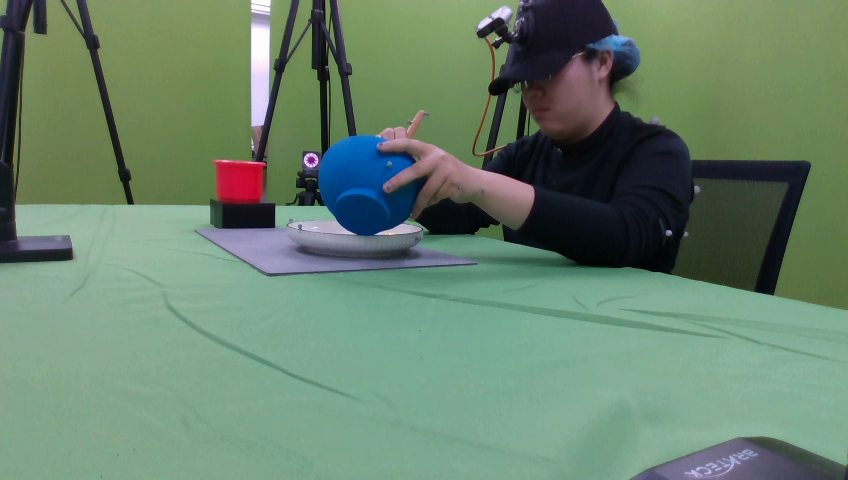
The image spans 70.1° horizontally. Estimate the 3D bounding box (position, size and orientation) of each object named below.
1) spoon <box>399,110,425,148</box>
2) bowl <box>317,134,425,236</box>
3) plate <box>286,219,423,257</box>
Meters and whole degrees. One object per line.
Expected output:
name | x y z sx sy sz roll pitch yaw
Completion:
spoon | -0.046 -0.130 0.913 0.041 0.022 0.194 9 53 35
bowl | -0.077 -0.058 0.814 0.151 0.151 0.077 3 44 7
plate | -0.105 -0.003 0.922 0.208 0.039 0.207 3 7 0
